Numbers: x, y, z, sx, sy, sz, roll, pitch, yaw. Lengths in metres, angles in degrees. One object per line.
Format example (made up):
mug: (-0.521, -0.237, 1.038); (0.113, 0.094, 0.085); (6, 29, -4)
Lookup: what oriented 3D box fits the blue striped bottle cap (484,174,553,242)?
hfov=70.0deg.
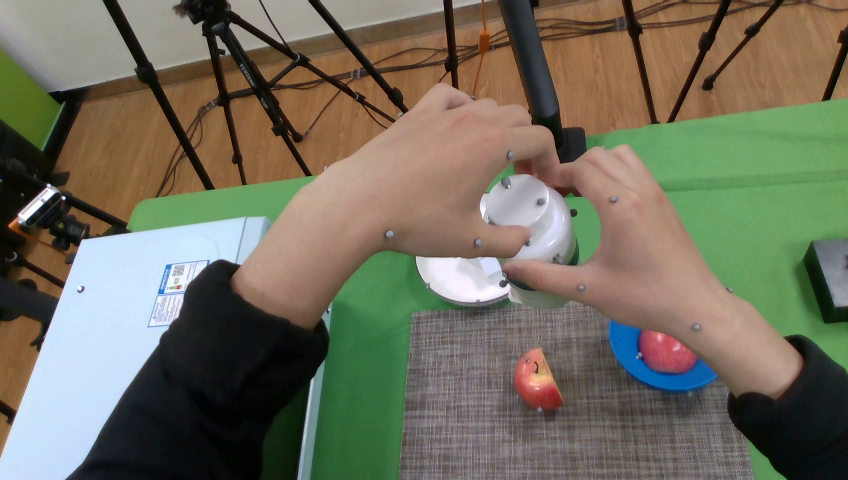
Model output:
blue striped bottle cap: (0.063, -0.022, 0.408); (0.044, 0.021, 0.044); (-11, 57, 17)

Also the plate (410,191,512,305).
plate: (0.082, 0.015, 0.979); (0.207, 0.039, 0.205); (-8, 58, 13)

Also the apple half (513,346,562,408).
apple half: (0.149, 0.191, 0.820); (0.053, 0.075, 0.080); (-24, 59, 7)

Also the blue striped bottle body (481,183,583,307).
blue striped bottle body: (0.081, 0.001, 0.452); (0.063, 0.122, 0.062); (-9, 61, 17)

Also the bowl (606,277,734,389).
bowl: (0.319, 0.132, 0.798); (0.151, 0.077, 0.150); (-9, 57, 14)

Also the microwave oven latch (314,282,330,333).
microwave oven latch: (-0.170, 0.110, 0.979); (0.030, 0.030, 0.078); (-6, 58, 14)

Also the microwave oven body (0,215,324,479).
microwave oven body: (-0.344, 0.228, 0.843); (0.325, 0.263, 0.437); (-7, 58, 13)

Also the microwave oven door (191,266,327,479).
microwave oven door: (-0.206, 0.243, 0.783); (0.039, 0.246, 0.352); (-7, 57, 14)

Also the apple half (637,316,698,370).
apple half: (0.319, 0.131, 0.793); (0.081, 0.033, 0.080); (-9, 56, 13)
